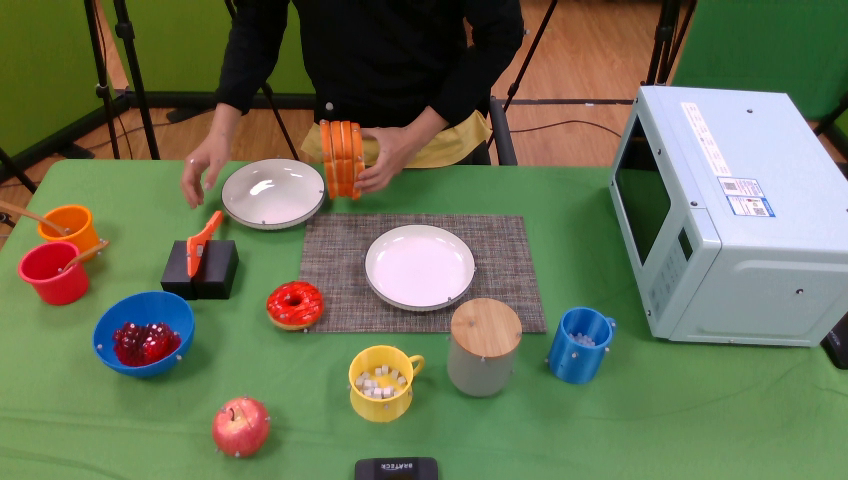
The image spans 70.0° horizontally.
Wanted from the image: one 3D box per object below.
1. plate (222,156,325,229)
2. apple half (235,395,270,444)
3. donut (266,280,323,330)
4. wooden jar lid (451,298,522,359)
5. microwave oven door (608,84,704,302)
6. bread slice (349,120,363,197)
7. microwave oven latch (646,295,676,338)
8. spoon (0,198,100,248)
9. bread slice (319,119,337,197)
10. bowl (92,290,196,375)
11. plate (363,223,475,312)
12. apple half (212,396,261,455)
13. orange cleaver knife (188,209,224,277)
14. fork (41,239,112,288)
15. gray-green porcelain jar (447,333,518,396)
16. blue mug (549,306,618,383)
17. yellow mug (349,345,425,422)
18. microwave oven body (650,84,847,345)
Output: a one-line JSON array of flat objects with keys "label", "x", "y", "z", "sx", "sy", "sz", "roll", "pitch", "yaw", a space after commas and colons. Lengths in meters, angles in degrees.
[{"label": "plate", "x": -0.308, "y": -0.095, "z": 1.251, "sx": 0.209, "sy": 0.038, "sz": 0.208, "roll": 3, "pitch": 47, "yaw": -3}, {"label": "apple half", "x": -0.245, "y": 0.259, "z": 0.893, "sx": 0.033, "sy": 0.082, "sz": 0.081, "roll": -29, "pitch": 55, "yaw": -22}, {"label": "donut", "x": -0.223, "y": 0.113, "z": 1.051, "sx": 0.099, "sy": 0.048, "sz": 0.098, "roll": 2, "pitch": 46, "yaw": -1}, {"label": "wooden jar lid", "x": 0.093, "y": 0.135, "z": 0.914, "sx": 0.108, "sy": 0.021, "sz": 0.107, "roll": 2, "pitch": 49, "yaw": -3}, {"label": "microwave oven door", "x": 0.424, "y": -0.096, "z": 1.138, "sx": 0.039, "sy": 0.245, "sz": 0.353, "roll": 3, "pitch": 46, "yaw": -1}, {"label": "bread slice", "x": -0.133, "y": -0.163, "z": 1.175, "sx": 0.019, "sy": 0.132, "sz": 0.104, "roll": -4, "pitch": 53, "yaw": -10}, {"label": "microwave oven latch", "x": 0.413, "y": 0.133, "z": 1.060, "sx": 0.030, "sy": 0.029, "sz": 0.078, "roll": 4, "pitch": 46, "yaw": 1}, {"label": "spoon", "x": -0.684, "y": -0.035, "z": 1.091, "sx": 0.021, "sy": 0.195, "sz": 0.041, "roll": -32, "pitch": 42, "yaw": 28}, {"label": "bread slice", "x": -0.186, "y": -0.166, "z": 1.167, "sx": 0.018, "sy": 0.135, "sz": 0.106, "roll": -7, "pitch": 53, "yaw": -6}, {"label": "bowl", "x": -0.436, "y": 0.161, "z": 0.971, "sx": 0.151, "sy": 0.077, "sz": 0.150, "roll": 2, "pitch": 46, "yaw": -2}, {"label": "plate", "x": -0.009, "y": 0.054, "z": 1.126, "sx": 0.208, "sy": 0.039, "sz": 0.206, "roll": 2, "pitch": 46, "yaw": -2}, {"label": "apple half", "x": -0.276, "y": 0.276, "z": 0.877, "sx": 0.053, "sy": 0.075, "sz": 0.080, "roll": -29, "pitch": 58, "yaw": -21}, {"label": "orange cleaver knife", "x": -0.402, "y": 0.000, "z": 1.123, "sx": 0.012, "sy": 0.077, "sz": 0.210, "roll": 1, "pitch": 22, "yaw": -3}, {"label": "fork", "x": -0.591, "y": 0.040, "z": 1.028, "sx": 0.207, "sy": 0.019, "sz": 0.028, "roll": -27, "pitch": 37, "yaw": 29}, {"label": "gray-green porcelain jar", "x": 0.091, "y": 0.178, "z": 0.960, "sx": 0.106, "sy": 0.127, "sz": 0.105, "roll": 2, "pitch": 46, "yaw": -2}, {"label": "blue mug", "x": 0.269, "y": 0.167, "z": 0.997, "sx": 0.116, "sy": 0.106, "sz": 0.082, "roll": -19, "pitch": 51, "yaw": -21}, {"label": "yellow mug", "x": -0.054, "y": 0.217, "z": 0.954, "sx": 0.131, "sy": 0.064, "sz": 0.099, "roll": -23, "pitch": 52, "yaw": -25}, {"label": "microwave oven body", "x": 0.569, "y": -0.054, "z": 1.116, "sx": 0.326, "sy": 0.261, "sz": 0.439, "roll": 2, "pitch": 46, "yaw": -1}]
